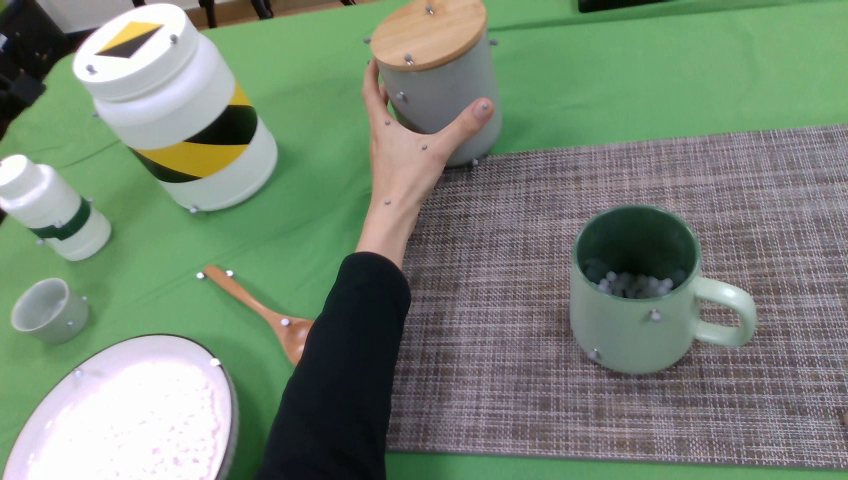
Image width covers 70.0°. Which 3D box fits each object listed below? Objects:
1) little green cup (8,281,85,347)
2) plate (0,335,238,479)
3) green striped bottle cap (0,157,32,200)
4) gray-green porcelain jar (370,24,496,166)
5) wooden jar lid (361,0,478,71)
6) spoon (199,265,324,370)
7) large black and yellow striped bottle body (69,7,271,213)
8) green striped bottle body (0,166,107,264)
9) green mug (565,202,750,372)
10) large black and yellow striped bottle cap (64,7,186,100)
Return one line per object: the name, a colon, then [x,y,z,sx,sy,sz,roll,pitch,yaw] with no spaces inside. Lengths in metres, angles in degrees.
little green cup: [-0.379,0.077,0.612,0.061,0.039,0.061,-8,52,11]
plate: [-0.245,0.178,0.498,0.209,0.038,0.207,-8,53,11]
green striped bottle cap: [-0.418,-0.062,0.606,0.044,0.020,0.044,-6,55,9]
gray-green porcelain jar: [0.013,-0.145,0.594,0.106,0.128,0.105,-9,49,10]
wooden jar lid: [-0.003,-0.184,0.547,0.108,0.021,0.107,-11,51,14]
spoon: [-0.157,0.063,0.564,0.192,0.022,0.041,28,86,31]
large black and yellow striped bottle body: [-0.257,-0.130,0.631,0.130,0.186,0.129,-8,53,12]
green striped bottle body: [-0.405,-0.031,0.646,0.063,0.120,0.062,-9,53,12]
green mug: [0.160,0.040,0.426,0.124,0.106,0.092,16,61,26]
large black and yellow striped bottle cap: [-0.279,-0.176,0.564,0.115,0.019,0.114,-8,52,11]
